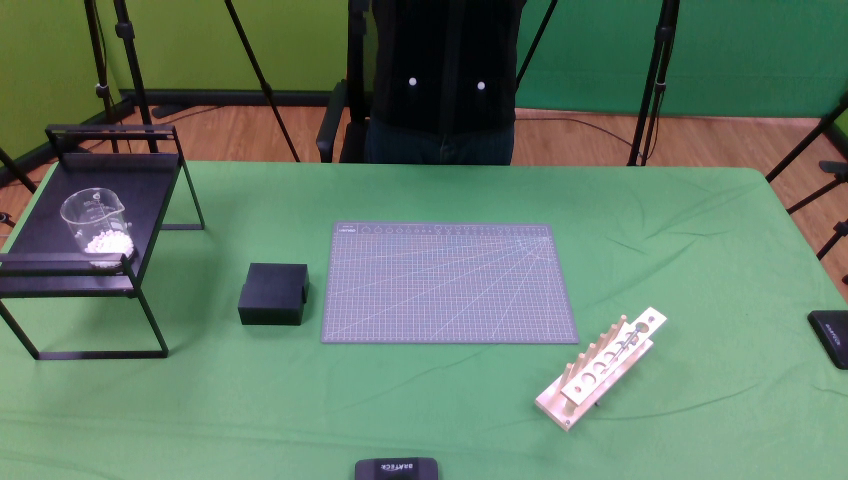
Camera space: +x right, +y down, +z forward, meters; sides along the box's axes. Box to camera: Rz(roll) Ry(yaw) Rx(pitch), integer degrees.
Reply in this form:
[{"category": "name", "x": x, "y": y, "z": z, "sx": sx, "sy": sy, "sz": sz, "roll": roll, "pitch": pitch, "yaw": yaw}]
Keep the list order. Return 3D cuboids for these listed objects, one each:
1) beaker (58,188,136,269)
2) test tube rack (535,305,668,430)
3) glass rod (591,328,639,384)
[{"category": "beaker", "x": -0.462, "y": -0.014, "z": 0.871, "sx": 0.084, "sy": 0.101, "sz": 0.073, "roll": -1, "pitch": 47, "yaw": -5}, {"category": "test tube rack", "x": 0.290, "y": 0.193, "z": 0.984, "sx": 0.242, "sy": 0.085, "sz": 0.066, "roll": -32, "pitch": 56, "yaw": -30}, {"category": "glass rod", "x": 0.279, "y": 0.182, "z": 0.902, "sx": 0.008, "sy": 0.200, "sz": 0.008, "roll": 4, "pitch": 52, "yaw": -5}]
